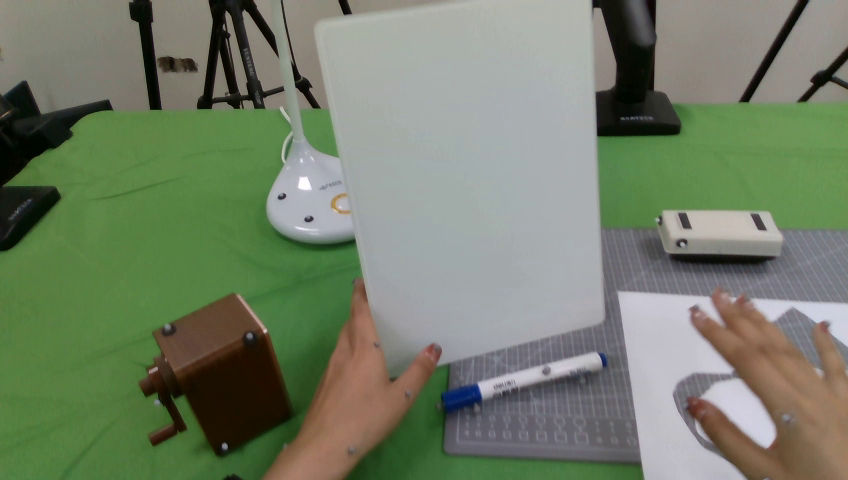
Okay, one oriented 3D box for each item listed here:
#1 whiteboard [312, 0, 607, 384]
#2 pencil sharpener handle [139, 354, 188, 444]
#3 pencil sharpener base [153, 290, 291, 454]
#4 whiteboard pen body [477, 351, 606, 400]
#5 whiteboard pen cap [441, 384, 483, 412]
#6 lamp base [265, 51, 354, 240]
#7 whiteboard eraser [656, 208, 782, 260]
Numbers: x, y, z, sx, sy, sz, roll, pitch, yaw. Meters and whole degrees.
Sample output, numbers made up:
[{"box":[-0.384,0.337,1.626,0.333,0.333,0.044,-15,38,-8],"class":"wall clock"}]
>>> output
[{"box":[0.032,-0.059,0.562,0.217,0.307,0.142,-13,20,-9],"class":"whiteboard"},{"box":[-0.199,0.120,0.448,0.031,0.068,0.035,-28,31,-26],"class":"pencil sharpener handle"},{"box":[-0.159,0.107,0.482,0.077,0.108,0.060,-28,45,-26],"class":"pencil sharpener base"},{"box":[0.088,0.117,0.511,0.141,0.017,0.017,-12,39,-10],"class":"whiteboard pen body"},{"box":[0.032,0.130,0.500,0.033,0.018,0.018,-11,39,-15],"class":"whiteboard pen cap"},{"box":[-0.126,-0.117,0.701,0.160,0.182,0.177,-32,44,-31],"class":"lamp base"},{"box":[0.306,-0.006,0.634,0.112,0.042,0.055,2,40,7],"class":"whiteboard eraser"}]
